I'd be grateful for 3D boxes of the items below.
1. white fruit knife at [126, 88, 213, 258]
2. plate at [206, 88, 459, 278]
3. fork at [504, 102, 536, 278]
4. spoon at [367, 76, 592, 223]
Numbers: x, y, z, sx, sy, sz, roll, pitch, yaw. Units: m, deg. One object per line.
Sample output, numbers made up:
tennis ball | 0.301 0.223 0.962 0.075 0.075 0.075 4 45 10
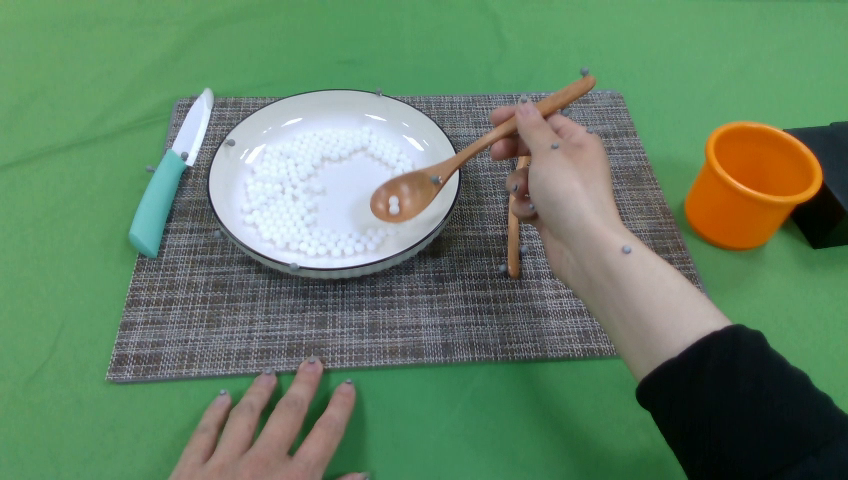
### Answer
white fruit knife | -0.220 -0.071 0.538 0.027 0.016 0.205 23 47 -22
plate | -0.074 -0.050 0.516 0.209 0.038 0.207 2 52 -2
fork | 0.084 -0.052 0.539 0.018 0.028 0.205 -6 49 27
spoon | 0.040 -0.069 0.460 0.194 0.022 0.041 -31 61 15
